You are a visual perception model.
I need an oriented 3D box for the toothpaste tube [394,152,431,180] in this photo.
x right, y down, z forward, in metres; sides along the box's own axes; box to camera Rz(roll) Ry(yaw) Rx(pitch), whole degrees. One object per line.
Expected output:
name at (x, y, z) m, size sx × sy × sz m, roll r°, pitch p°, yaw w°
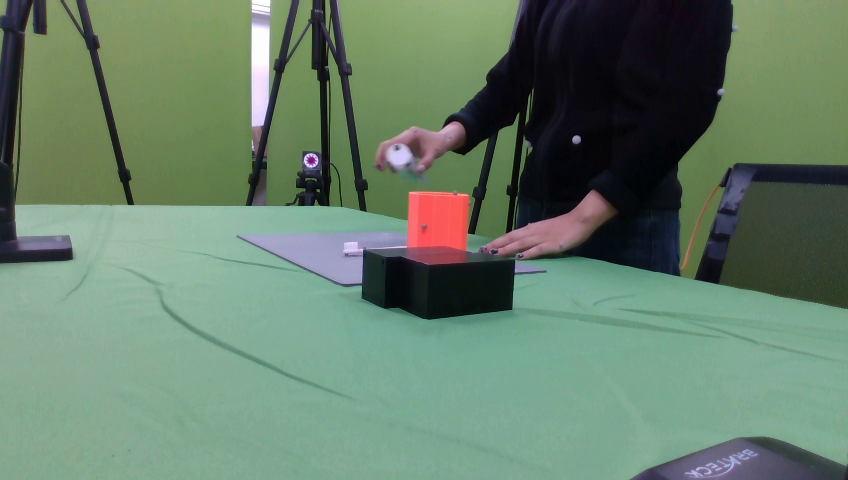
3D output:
toothpaste tube at (-0.024, -0.128, 1.050) m, size 0.055 × 0.034 × 0.165 m, roll 15°, pitch -5°, yaw 9°

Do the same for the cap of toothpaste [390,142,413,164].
cap of toothpaste at (-0.036, -0.140, 0.969) m, size 0.037 × 0.037 × 0.011 m, roll 2°, pitch 0°, yaw -3°

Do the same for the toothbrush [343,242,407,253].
toothbrush at (-0.040, 0.010, 0.905) m, size 0.183 × 0.016 × 0.014 m, roll -1°, pitch -7°, yaw -36°

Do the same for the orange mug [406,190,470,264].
orange mug at (0.027, -0.023, 0.866) m, size 0.083 × 0.101 × 0.126 m, roll 6°, pitch 12°, yaw 24°
